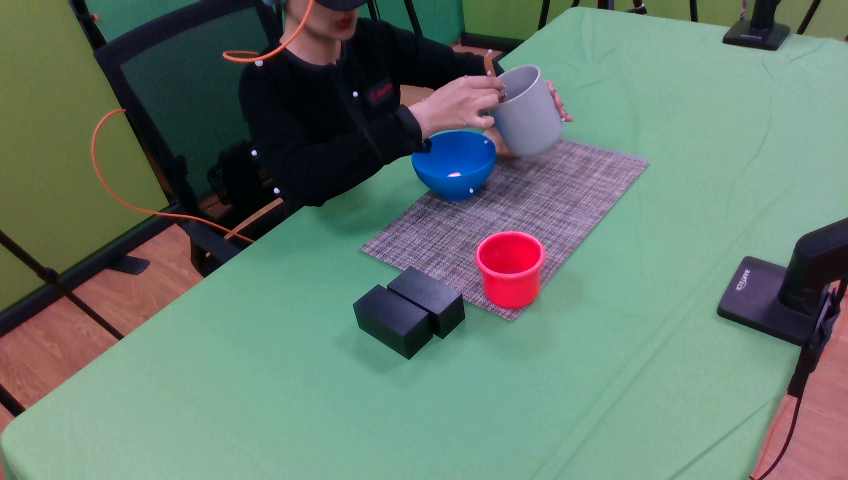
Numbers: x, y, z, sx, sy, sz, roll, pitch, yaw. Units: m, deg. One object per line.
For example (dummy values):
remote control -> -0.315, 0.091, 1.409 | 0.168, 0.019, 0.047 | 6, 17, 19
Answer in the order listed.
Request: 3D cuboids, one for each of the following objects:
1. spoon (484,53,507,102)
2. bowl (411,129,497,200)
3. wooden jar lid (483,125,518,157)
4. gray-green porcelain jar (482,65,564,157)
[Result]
spoon -> 0.128, -0.237, 0.993 | 0.041, 0.195, 0.021 | -44, 52, -2
bowl -> 0.056, -0.124, 1.069 | 0.151, 0.077, 0.150 | -5, 40, 5
wooden jar lid -> 0.165, -0.195, 1.177 | 0.108, 0.021, 0.108 | -4, 40, 4
gray-green porcelain jar -> 0.172, -0.215, 1.029 | 0.105, 0.127, 0.105 | -23, 37, 19
